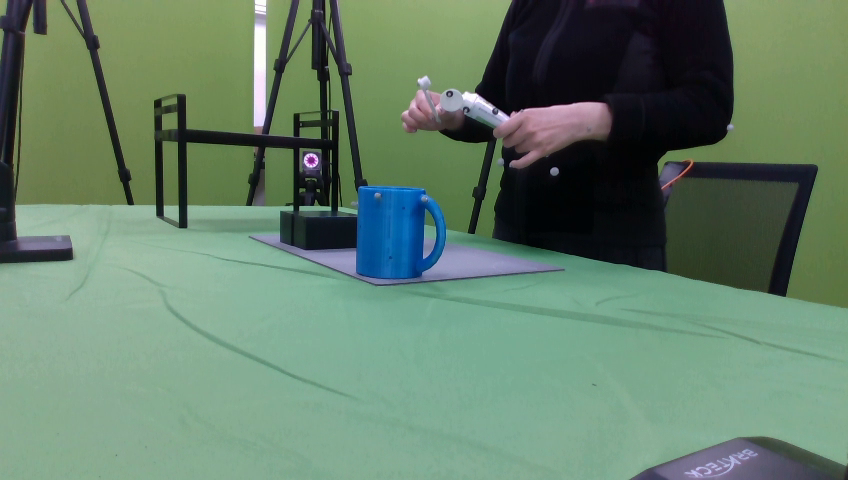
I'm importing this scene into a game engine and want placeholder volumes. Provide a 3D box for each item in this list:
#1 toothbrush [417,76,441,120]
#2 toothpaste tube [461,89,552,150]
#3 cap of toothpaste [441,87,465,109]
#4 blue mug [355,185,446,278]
[{"bbox_3d":[0.012,-0.229,0.991,0.016,0.014,0.182,-39,-11,3],"label":"toothbrush"},{"bbox_3d":[0.122,-0.181,0.919,0.165,0.034,0.055,27,17,-15],"label":"toothpaste tube"},{"bbox_3d":[0.042,-0.209,0.882,0.037,0.037,0.011,2,45,-2],"label":"cap of toothpaste"},{"bbox_3d":[-0.027,-0.011,0.723,0.116,0.106,0.083,7,8,27],"label":"blue mug"}]
